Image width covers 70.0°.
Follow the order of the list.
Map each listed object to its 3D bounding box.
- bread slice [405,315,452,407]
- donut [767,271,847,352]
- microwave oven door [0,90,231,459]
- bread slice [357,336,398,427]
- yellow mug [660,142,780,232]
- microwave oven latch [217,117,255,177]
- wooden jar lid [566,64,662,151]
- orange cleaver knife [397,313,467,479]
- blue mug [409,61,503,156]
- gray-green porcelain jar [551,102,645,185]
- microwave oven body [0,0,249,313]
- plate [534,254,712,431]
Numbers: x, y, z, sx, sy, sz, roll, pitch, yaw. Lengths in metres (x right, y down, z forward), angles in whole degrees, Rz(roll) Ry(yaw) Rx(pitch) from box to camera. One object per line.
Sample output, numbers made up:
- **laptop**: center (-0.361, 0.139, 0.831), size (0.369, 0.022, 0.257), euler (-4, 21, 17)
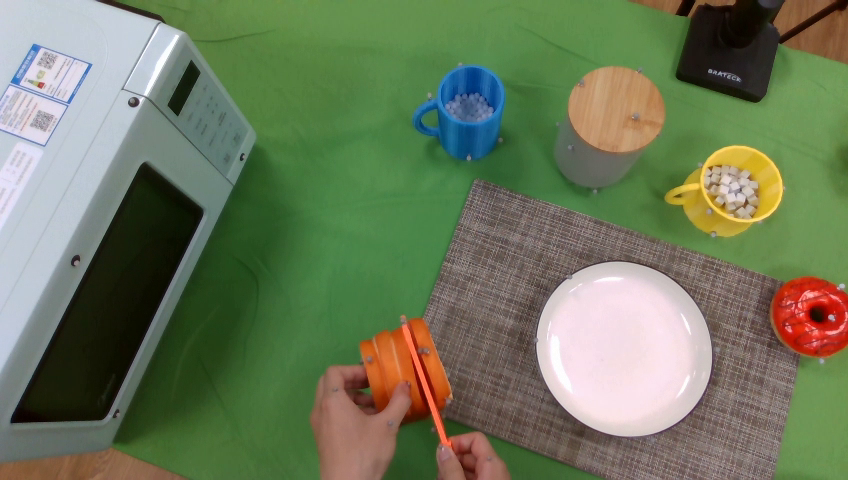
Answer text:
- **bread slice**: center (0.006, 0.137, 0.689), size (0.019, 0.132, 0.104), euler (-22, 74, -3)
- **donut**: center (0.465, 0.086, 0.730), size (0.099, 0.048, 0.098), euler (0, 77, 2)
- **microwave oven door**: center (-0.333, 0.049, 0.645), size (0.039, 0.245, 0.354), euler (19, 77, 7)
- **bread slice**: center (-0.052, 0.156, 0.686), size (0.018, 0.135, 0.106), euler (-18, 73, -6)
- **yellow mug**: center (0.366, -0.064, 0.763), size (0.131, 0.064, 0.099), euler (-4, 76, 2)
- **microwave oven latch**: center (-0.249, -0.124, 0.790), size (0.030, 0.029, 0.079), euler (23, 78, 7)
- **wooden jar lid**: center (0.215, -0.150, 0.694), size (0.108, 0.021, 0.108), euler (0, 74, 2)
- **orange cleaver knife**: center (0.010, 0.176, 0.638), size (0.012, 0.077, 0.211), euler (-20, 86, -6)
- **blue mug**: center (0.039, -0.164, 0.777), size (0.116, 0.106, 0.082), euler (-6, 75, 1)
- **gray-green porcelain jar**: center (0.217, -0.133, 0.754), size (0.106, 0.127, 0.105), euler (0, 75, 2)
- **microwave oven body**: center (-0.454, -0.036, 0.675), size (0.325, 0.261, 0.440), euler (20, 78, 6)
- **plate**: center (0.234, 0.122, 0.731), size (0.207, 0.039, 0.206), euler (0, 76, 2)
